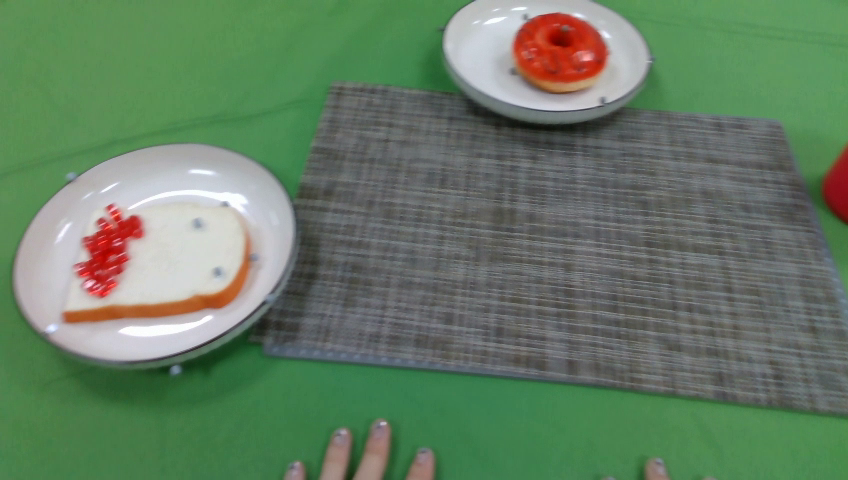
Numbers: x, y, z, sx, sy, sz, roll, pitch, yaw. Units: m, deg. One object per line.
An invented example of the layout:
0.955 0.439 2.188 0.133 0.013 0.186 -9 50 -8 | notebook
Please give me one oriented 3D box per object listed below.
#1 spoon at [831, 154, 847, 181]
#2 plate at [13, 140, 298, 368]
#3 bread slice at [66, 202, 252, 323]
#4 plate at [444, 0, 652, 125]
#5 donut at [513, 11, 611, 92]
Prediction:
0.432 -0.073 0.477 0.192 0.022 0.041 -5 38 46 | spoon
-0.202 0.007 0.476 0.209 0.038 0.207 1 55 -1 | plate
-0.203 0.012 0.476 0.132 0.019 0.104 -5 55 -4 | bread slice
0.123 -0.184 0.620 0.208 0.039 0.205 1 52 -1 | plate
0.138 -0.189 0.609 0.099 0.048 0.098 1 55 -2 | donut
